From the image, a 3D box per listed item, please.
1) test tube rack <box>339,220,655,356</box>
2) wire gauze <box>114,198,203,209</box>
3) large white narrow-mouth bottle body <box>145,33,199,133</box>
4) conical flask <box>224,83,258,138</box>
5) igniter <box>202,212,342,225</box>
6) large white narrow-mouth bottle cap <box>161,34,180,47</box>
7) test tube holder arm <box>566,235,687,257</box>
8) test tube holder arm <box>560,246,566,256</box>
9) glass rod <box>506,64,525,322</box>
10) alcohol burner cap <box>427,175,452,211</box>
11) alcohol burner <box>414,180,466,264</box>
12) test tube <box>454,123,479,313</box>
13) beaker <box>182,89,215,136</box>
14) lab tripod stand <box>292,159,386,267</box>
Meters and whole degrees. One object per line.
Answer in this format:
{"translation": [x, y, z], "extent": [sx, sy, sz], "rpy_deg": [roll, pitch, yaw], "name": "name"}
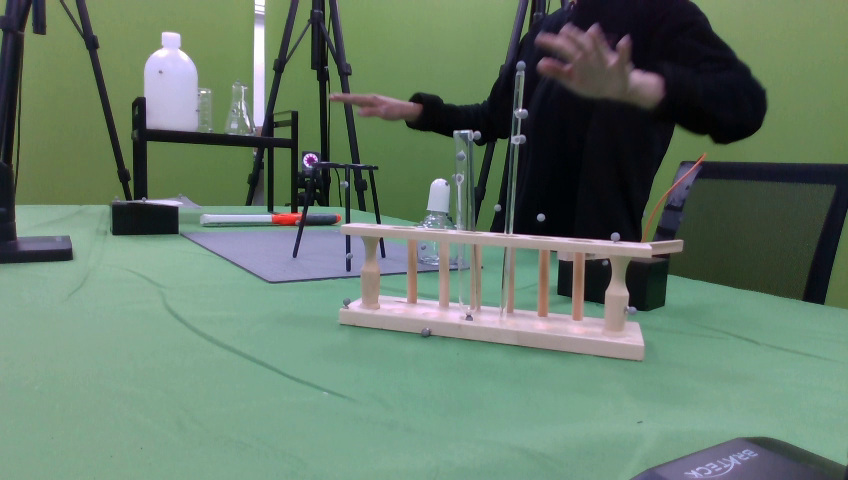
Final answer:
{"translation": [0.056, 0.032, 0.495], "extent": [0.242, 0.085, 0.067], "rpy_deg": [4, 7, 15], "name": "test tube rack"}
{"translation": [-0.447, -0.062, 1.015], "extent": [0.126, 0.011, 0.121], "rpy_deg": [-2, 8, -31], "name": "wire gauze"}
{"translation": [-0.513, -0.318, 1.231], "extent": [0.102, 0.194, 0.102], "rpy_deg": [2, 7, 0], "name": "large white narrow-mouth bottle body"}
{"translation": [-0.422, -0.299, 1.395], "extent": [0.075, 0.122, 0.075], "rpy_deg": [2, 7, 0], "name": "conical flask"}
{"translation": [-0.298, -0.044, 1.216], "extent": [0.278, 0.025, 0.057], "rpy_deg": [-2, -2, -32], "name": "igniter"}
{"translation": [-0.511, -0.401, 1.220], "extent": [0.038, 0.024, 0.037], "rpy_deg": [2, 7, 0], "name": "large white narrow-mouth bottle cap"}
{"translation": [0.215, 0.006, 0.630], "extent": [0.179, 0.015, 0.013], "rpy_deg": [-3, 9, -31], "name": "test tube holder arm"}
{"translation": [0.173, 0.007, 0.612], "extent": [0.088, 0.015, 0.010], "rpy_deg": [-3, 9, -30], "name": "test tube holder arm"}
{"translation": [0.069, -0.030, 0.458], "extent": [0.008, 0.199, 0.008], "rpy_deg": [0, 15, 0], "name": "glass rod"}
{"translation": [0.023, -0.064, 0.822], "extent": [0.034, 0.048, 0.034], "rpy_deg": [7, 5, 0], "name": "alcohol burner cap"}
{"translation": [0.021, -0.028, 0.826], "extent": [0.078, 0.119, 0.078], "rpy_deg": [0, 6, 0], "name": "alcohol burner"}
{"translation": [0.034, -0.016, 0.477], "extent": [0.017, 0.150, 0.017], "rpy_deg": [-2, 9, 1], "name": "test tube"}
{"translation": [-0.511, -0.285, 1.353], "extent": [0.084, 0.100, 0.073], "rpy_deg": [-2, 8, -25], "name": "beaker"}
{"translation": [-0.105, -0.039, 0.798], "extent": [0.148, 0.131, 0.148], "rpy_deg": [2, 5, 0], "name": "lab tripod stand"}
